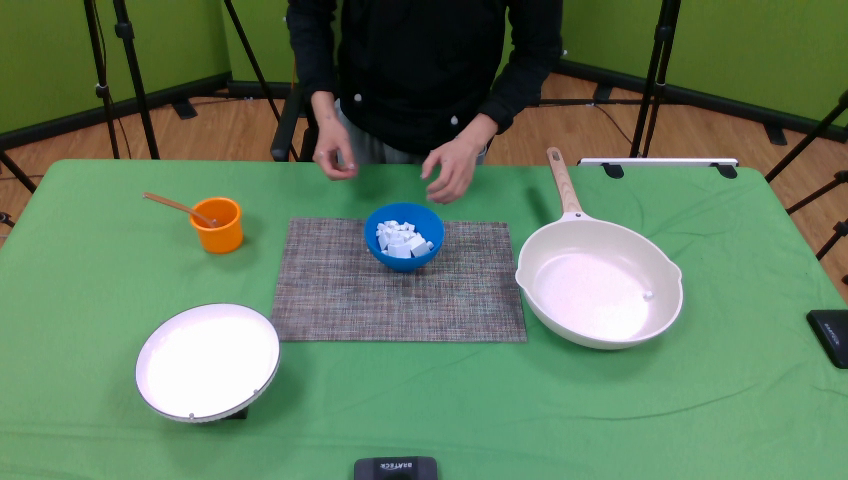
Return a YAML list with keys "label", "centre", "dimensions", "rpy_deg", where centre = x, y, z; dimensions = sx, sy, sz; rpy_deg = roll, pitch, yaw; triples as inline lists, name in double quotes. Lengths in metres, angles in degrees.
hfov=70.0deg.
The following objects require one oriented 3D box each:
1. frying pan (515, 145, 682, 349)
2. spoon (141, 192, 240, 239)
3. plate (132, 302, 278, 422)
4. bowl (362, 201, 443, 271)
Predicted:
- label: "frying pan"
  centre: [0.302, -0.004, 1.168]
  dimensions: [0.307, 0.103, 0.484]
  rpy_deg: [-2, 55, -7]
- label: "spoon"
  centre: [-0.428, -0.048, 1.122]
  dimensions: [0.021, 0.195, 0.041]
  rpy_deg: [-38, 44, 21]
- label: "plate"
  centre: [-0.325, 0.186, 0.916]
  dimensions: [0.208, 0.039, 0.206]
  rpy_deg: [3, 44, -2]
- label: "bowl"
  centre: [-0.041, 0.005, 1.144]
  dimensions: [0.151, 0.077, 0.150]
  rpy_deg: [3, 46, -3]
